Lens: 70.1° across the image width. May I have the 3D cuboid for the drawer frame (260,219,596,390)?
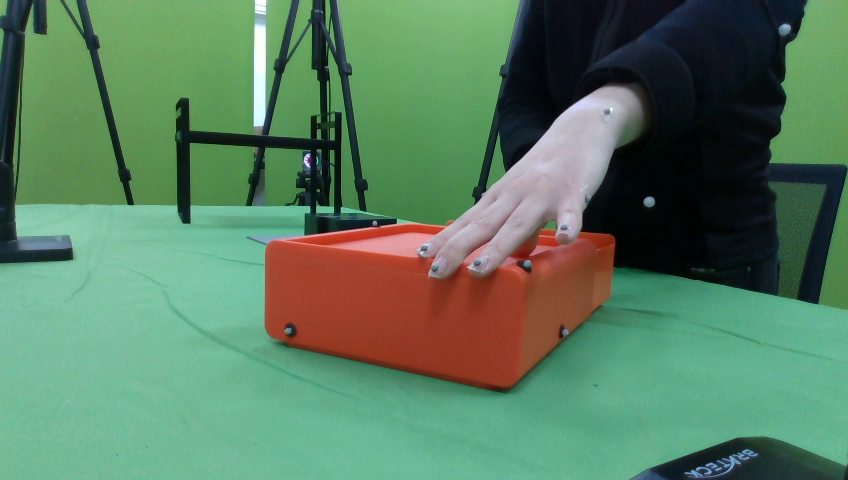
[{"bbox_3d":[0.016,0.036,0.494,0.201,0.082,0.214,6,9,26],"label":"drawer frame"}]

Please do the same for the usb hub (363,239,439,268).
[{"bbox_3d":[-0.029,0.017,0.828,0.049,0.025,0.126,5,7,29],"label":"usb hub"}]

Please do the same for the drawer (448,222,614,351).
[{"bbox_3d":[0.060,0.033,0.574,0.194,0.073,0.212,6,10,27],"label":"drawer"}]
